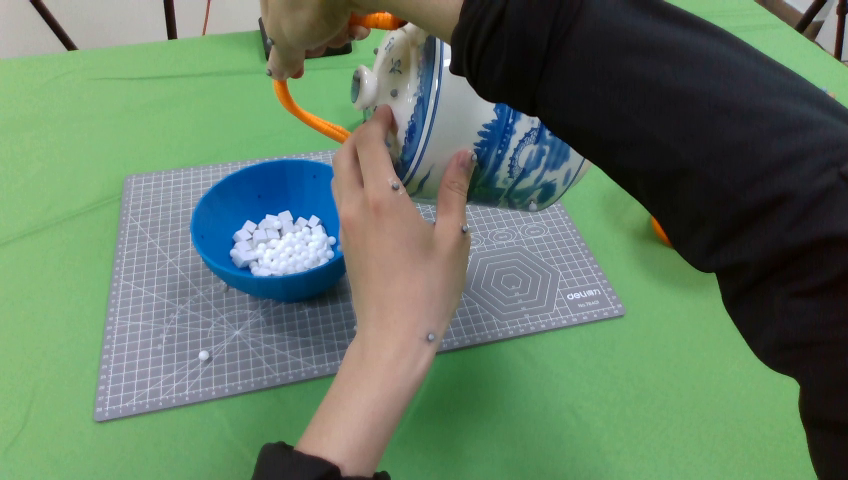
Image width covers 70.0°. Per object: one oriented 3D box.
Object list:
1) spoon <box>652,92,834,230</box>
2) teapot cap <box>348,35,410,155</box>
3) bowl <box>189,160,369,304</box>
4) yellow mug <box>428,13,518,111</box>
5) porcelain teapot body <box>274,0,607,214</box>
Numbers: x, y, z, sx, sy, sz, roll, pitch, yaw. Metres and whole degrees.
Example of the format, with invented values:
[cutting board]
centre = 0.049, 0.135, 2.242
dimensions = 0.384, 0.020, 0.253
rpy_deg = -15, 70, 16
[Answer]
[spoon]
centre = 0.307, -0.074, 0.588
dimensions = 0.022, 0.194, 0.041
rpy_deg = 27, 29, -41
[teapot cap]
centre = -0.030, -0.103, 0.428
dimensions = 0.044, 0.085, 0.084
rpy_deg = 1, 44, -20
[bowl]
centre = -0.122, 0.005, 0.544
dimensions = 0.151, 0.077, 0.150
rpy_deg = 1, 45, 0
[yellow mug]
centre = 0.049, -0.197, 0.687
dimensions = 0.099, 0.064, 0.130
rpy_deg = 16, 50, 14
[porcelain teapot body]
centre = -0.003, -0.082, 0.463
dimensions = 0.226, 0.206, 0.143
rpy_deg = 5, 51, -22
